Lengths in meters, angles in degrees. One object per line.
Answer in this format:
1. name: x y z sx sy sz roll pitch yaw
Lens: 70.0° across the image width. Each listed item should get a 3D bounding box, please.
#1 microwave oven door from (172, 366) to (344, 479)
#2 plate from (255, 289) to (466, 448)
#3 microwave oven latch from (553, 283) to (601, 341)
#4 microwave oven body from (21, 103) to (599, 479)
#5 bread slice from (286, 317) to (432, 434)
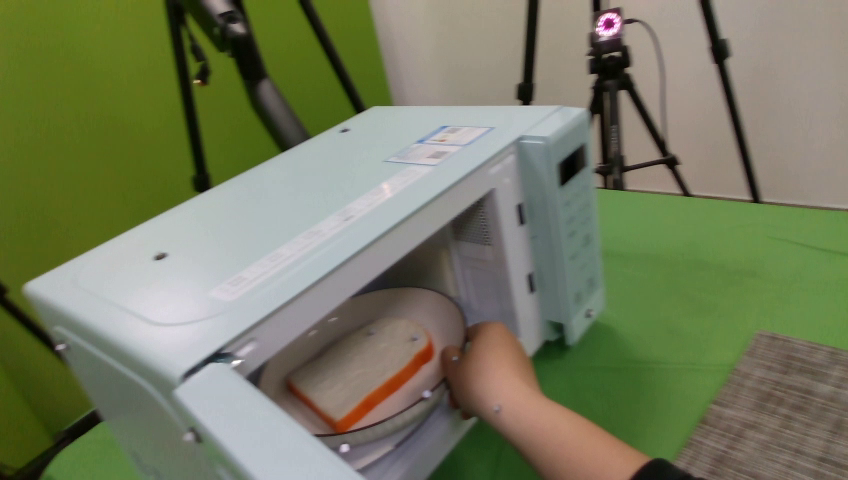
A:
1. microwave oven door: 0.015 0.210 0.266 0.039 0.246 0.352 -34 32 -32
2. plate: -0.058 0.121 0.585 0.209 0.038 0.207 -14 27 8
3. microwave oven latch: 0.169 0.076 0.673 0.030 0.030 0.079 12 38 40
4. microwave oven body: -0.074 0.060 0.612 0.323 0.262 0.441 11 37 40
5. bread slice: -0.059 0.121 0.588 0.131 0.019 0.104 -35 33 -28
